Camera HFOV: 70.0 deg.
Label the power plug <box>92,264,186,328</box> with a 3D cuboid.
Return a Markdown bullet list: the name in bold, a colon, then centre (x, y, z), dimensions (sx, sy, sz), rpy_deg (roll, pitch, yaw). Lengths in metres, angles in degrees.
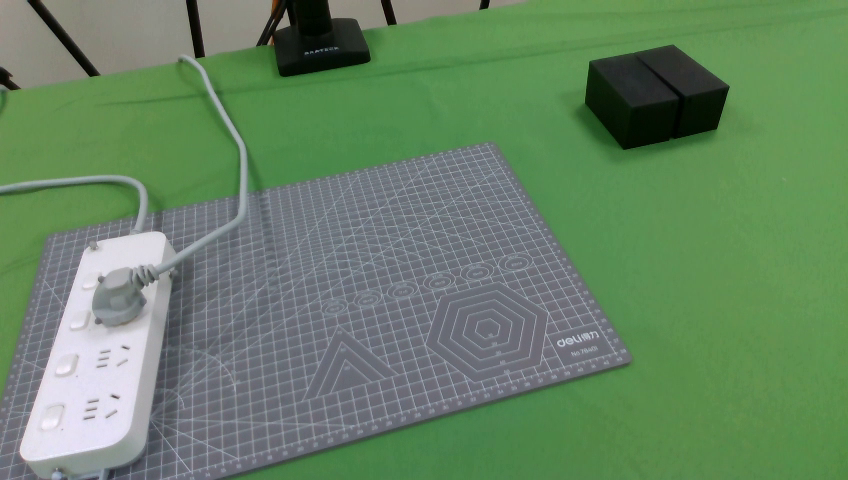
- **power plug**: centre (-0.210, 0.049, 0.453), dimensions (0.072, 0.053, 0.035), rpy_deg (-4, 44, 3)

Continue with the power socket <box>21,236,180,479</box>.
- **power socket**: centre (-0.235, 0.078, 0.460), dimensions (0.072, 0.033, 0.224), rpy_deg (-8, 43, -6)
